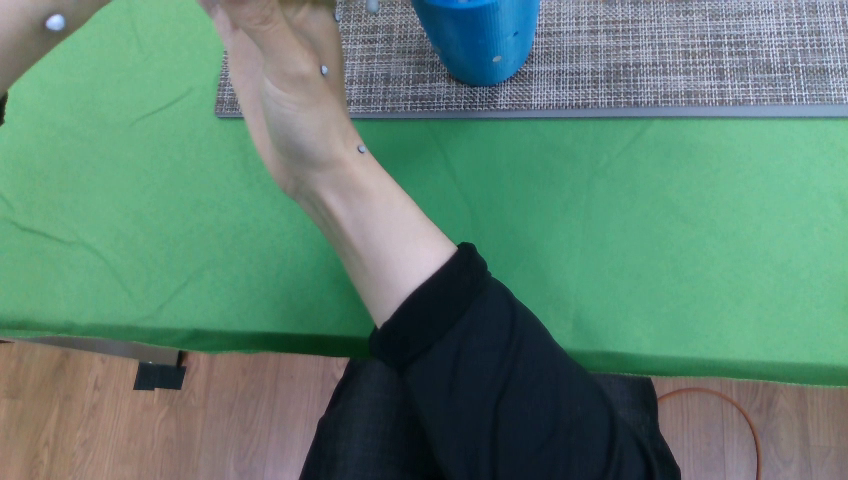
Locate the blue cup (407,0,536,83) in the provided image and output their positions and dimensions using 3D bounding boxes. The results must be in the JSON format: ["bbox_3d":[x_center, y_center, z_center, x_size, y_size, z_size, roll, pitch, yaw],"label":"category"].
[{"bbox_3d":[0.031,-0.150,0.376,0.092,0.101,0.092,-3,73,10],"label":"blue cup"}]

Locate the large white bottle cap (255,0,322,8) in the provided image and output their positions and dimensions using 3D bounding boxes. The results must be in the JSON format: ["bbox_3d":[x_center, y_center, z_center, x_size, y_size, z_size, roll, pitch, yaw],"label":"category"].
[{"bbox_3d":[-0.099,-0.231,0.462,0.114,0.018,0.114,-2,75,8],"label":"large white bottle cap"}]
